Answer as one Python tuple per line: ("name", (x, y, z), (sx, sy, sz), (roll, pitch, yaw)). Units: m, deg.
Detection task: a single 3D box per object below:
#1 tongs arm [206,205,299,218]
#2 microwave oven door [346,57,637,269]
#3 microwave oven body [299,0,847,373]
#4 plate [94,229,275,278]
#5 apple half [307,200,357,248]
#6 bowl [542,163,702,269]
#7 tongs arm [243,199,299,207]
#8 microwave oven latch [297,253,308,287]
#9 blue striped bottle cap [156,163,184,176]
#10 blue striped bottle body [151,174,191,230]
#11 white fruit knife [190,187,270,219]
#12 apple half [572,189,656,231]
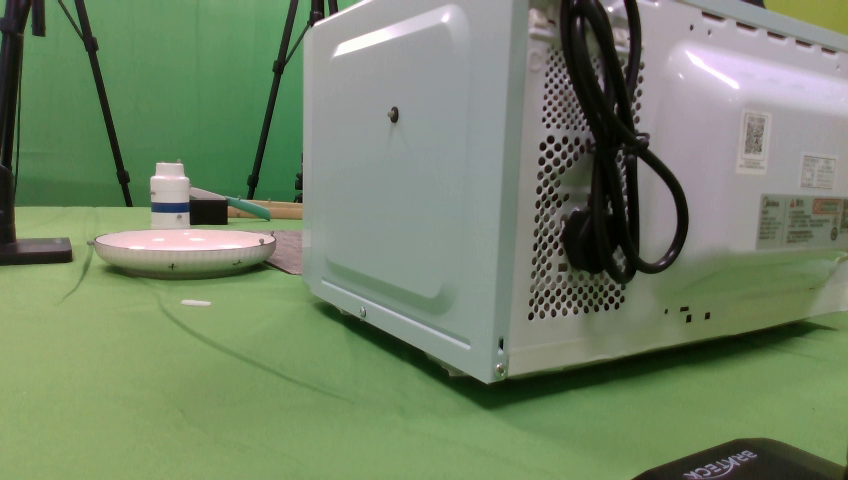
("tongs arm", (-0.302, -0.065, 1.406), (0.389, 0.028, 0.028), (1, 4, -15))
("microwave oven door", (0.087, -0.088, 0.745), (0.357, 0.243, 0.039), (1, 8, -12))
("microwave oven body", (0.152, -0.055, 0.542), (0.444, 0.260, 0.324), (-2, 7, -33))
("plate", (-0.291, 0.016, 0.749), (0.208, 0.039, 0.207), (2, 7, 0))
("apple half", (-0.136, -0.024, 0.942), (0.053, 0.074, 0.081), (15, 10, 38))
("bowl", (0.181, -0.020, 0.589), (0.151, 0.077, 0.151), (14, 7, -1))
("tongs arm", (-0.309, -0.079, 1.486), (0.385, 0.026, 0.051), (3, 7, -1))
("microwave oven latch", (-0.081, 0.028, 0.580), (0.079, 0.029, 0.030), (-1, 7, -28))
("blue striped bottle cap", (-0.438, -0.122, 1.045), (0.044, 0.020, 0.044), (5, 6, 0))
("blue striped bottle body", (-0.439, -0.071, 1.052), (0.063, 0.120, 0.063), (2, 7, 0))
("white fruit knife", (-0.413, -0.081, 1.270), (0.208, 0.027, 0.016), (17, 13, -41))
("apple half", (0.182, -0.031, 0.581), (0.081, 0.033, 0.081), (14, -3, 1))
